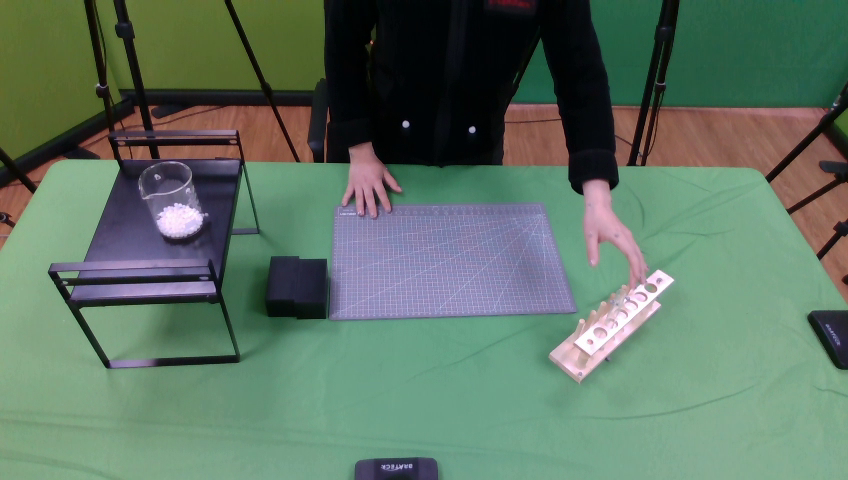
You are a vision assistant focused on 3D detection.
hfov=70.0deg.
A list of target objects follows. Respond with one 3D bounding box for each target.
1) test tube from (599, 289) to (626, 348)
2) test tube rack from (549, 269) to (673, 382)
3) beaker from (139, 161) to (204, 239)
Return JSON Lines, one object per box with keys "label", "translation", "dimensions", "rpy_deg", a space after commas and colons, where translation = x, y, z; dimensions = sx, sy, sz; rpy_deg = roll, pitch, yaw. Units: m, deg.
{"label": "test tube", "translation": [0.302, 0.130, 0.982], "dimensions": [0.017, 0.151, 0.017], "rpy_deg": [0, 47, 0]}
{"label": "test tube rack", "translation": [0.325, 0.134, 1.048], "dimensions": [0.242, 0.085, 0.066], "rpy_deg": [-32, 55, -30]}
{"label": "beaker", "translation": [-0.381, -0.056, 0.920], "dimensions": [0.074, 0.101, 0.084], "rpy_deg": [22, 49, 18]}
